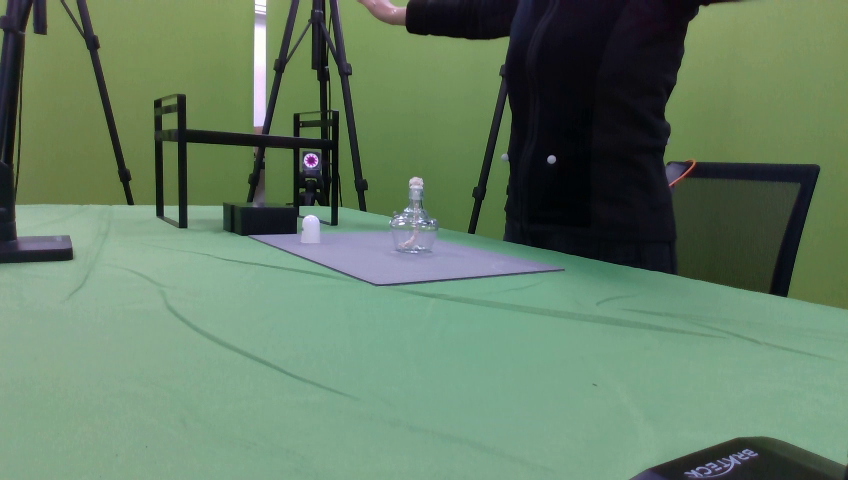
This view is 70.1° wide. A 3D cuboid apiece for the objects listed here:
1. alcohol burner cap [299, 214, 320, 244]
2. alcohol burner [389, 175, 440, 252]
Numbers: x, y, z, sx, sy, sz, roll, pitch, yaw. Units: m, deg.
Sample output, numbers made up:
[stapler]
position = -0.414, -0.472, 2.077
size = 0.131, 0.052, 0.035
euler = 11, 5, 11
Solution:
[alcohol burner cap]
position = -0.185, -0.018, 0.979
size = 0.034, 0.048, 0.034
euler = 3, 8, 0
[alcohol burner]
position = -0.013, -0.041, 0.930
size = 0.078, 0.119, 0.078
euler = 4, 8, 0
